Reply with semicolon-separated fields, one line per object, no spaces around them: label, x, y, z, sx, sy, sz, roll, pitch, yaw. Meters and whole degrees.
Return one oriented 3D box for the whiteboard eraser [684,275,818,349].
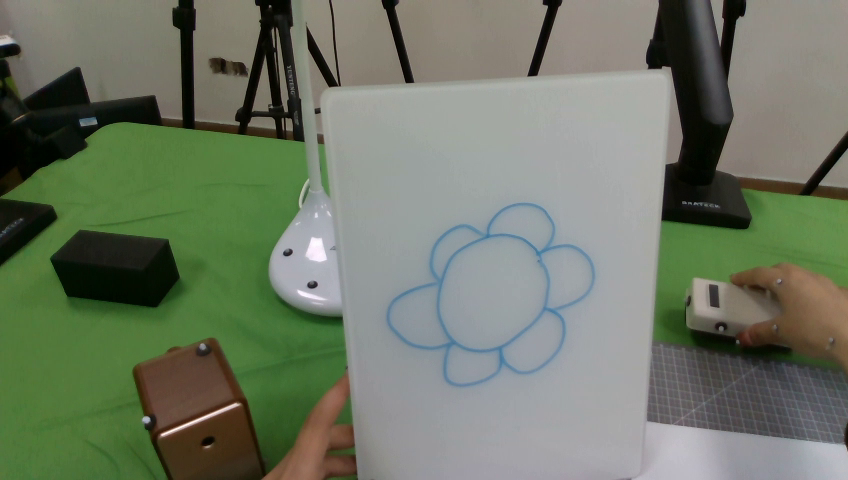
whiteboard eraser;0.312;0.071;0.586;0.112;0.042;0.055;9;44;12

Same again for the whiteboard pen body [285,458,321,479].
whiteboard pen body;-0.122;0.203;0.418;0.017;0.017;0.140;22;38;26

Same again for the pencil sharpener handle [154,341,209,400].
pencil sharpener handle;-0.186;0.096;0.469;0.036;0.068;0.030;-26;44;-19

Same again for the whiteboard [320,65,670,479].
whiteboard;0.046;0.027;0.470;0.217;0.307;0.143;-5;18;-6

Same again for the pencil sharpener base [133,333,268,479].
pencil sharpener base;-0.161;0.133;0.441;0.061;0.108;0.076;-20;41;-25

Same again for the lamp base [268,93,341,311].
lamp base;-0.095;-0.047;0.620;0.161;0.182;0.177;-23;41;-29
